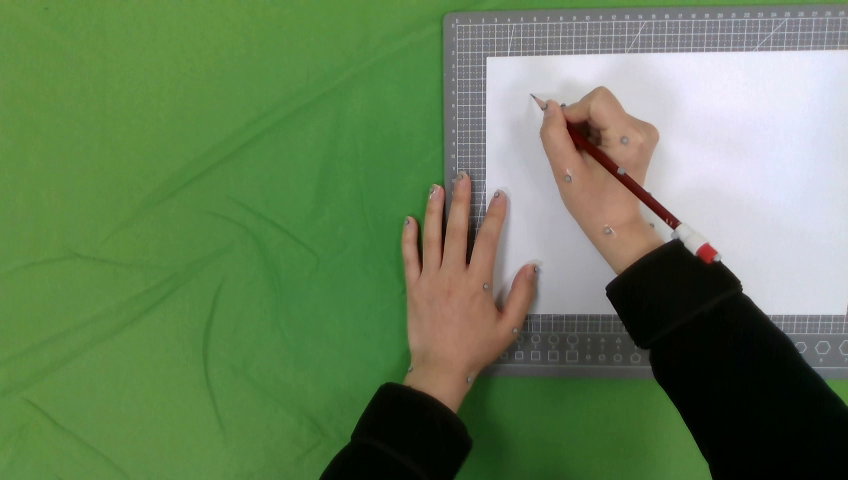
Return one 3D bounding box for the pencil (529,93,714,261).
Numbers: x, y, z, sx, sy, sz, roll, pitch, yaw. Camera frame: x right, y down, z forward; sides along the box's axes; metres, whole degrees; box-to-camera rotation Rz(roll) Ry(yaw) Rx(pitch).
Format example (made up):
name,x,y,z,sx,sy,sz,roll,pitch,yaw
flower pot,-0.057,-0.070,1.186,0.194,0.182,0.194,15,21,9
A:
name,x,y,z,sx,sy,sz,roll,pitch,yaw
pencil,0.128,-0.053,0.422,0.012,0.012,0.192,-42,53,10
